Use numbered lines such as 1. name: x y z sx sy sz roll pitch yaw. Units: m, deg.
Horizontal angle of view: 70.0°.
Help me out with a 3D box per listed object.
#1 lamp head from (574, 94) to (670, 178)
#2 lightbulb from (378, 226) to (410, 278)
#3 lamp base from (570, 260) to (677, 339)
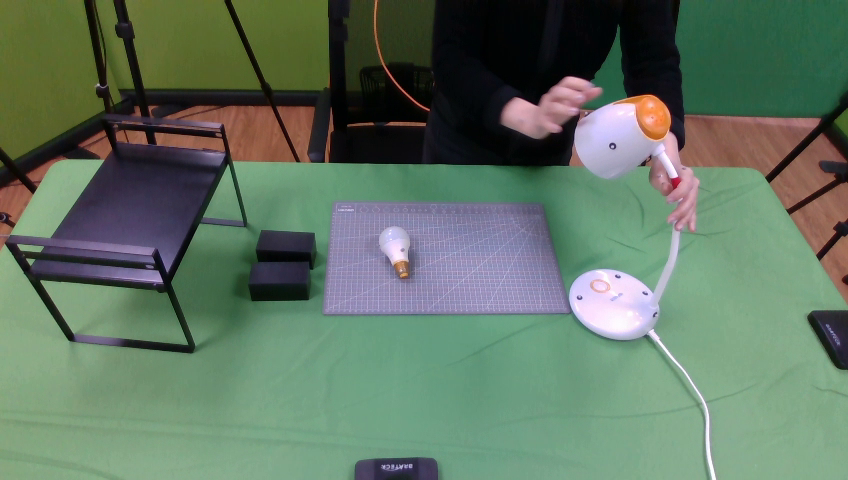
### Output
1. lamp head: 0.304 -0.158 0.898 0.113 0.123 0.112 5 79 -25
2. lightbulb: -0.051 0.023 1.148 0.059 0.060 0.107 -11 63 -14
3. lamp base: 0.360 0.067 1.047 0.178 0.181 0.160 38 55 26
